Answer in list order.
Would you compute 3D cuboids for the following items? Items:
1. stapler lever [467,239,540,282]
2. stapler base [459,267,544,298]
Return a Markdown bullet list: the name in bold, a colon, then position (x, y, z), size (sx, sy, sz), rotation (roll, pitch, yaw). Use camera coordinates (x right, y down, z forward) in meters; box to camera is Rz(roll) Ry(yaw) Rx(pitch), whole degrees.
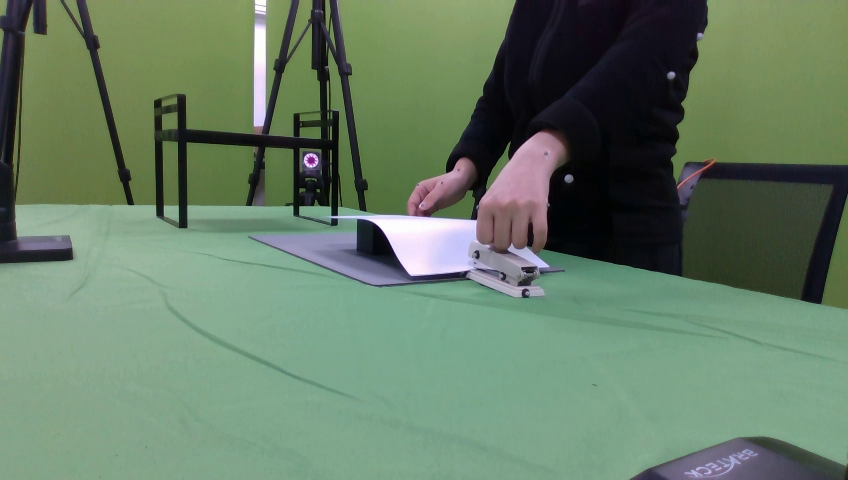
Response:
- **stapler lever**: position (0.089, 0.023, 0.702), size (0.027, 0.040, 0.117), rotation (-2, 5, -27)
- **stapler base**: position (0.087, 0.042, 0.705), size (0.041, 0.024, 0.130), rotation (-2, 11, -27)
